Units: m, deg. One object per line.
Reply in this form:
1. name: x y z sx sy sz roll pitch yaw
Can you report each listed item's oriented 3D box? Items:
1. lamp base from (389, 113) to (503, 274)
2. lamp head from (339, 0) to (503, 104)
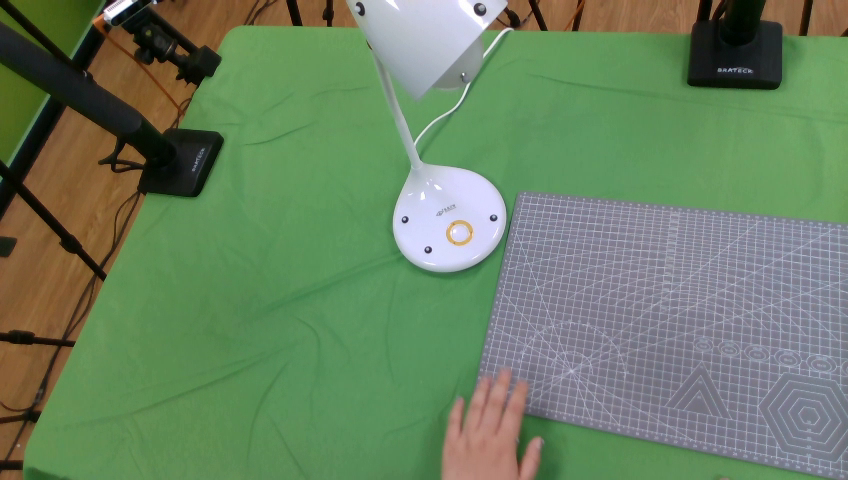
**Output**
1. lamp base: 0.005 -0.069 0.778 0.160 0.182 0.177 -37 58 -7
2. lamp head: -0.015 -0.192 0.505 0.123 0.112 0.112 41 77 -6
